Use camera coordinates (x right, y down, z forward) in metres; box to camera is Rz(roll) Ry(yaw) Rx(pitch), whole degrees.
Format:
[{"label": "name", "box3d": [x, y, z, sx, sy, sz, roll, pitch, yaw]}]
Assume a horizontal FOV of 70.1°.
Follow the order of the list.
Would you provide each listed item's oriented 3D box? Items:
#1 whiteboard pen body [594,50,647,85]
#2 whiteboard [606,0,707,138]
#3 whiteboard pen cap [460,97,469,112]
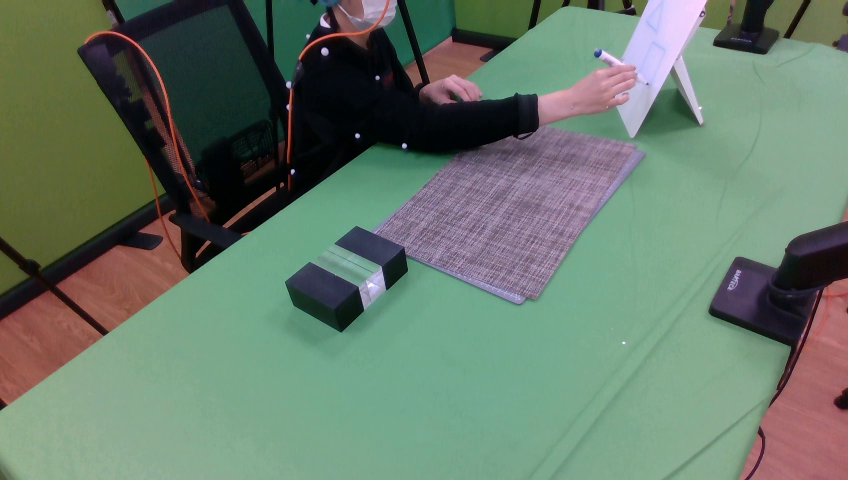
[{"label": "whiteboard pen body", "box3d": [0.359, -0.307, 1.091, 0.142, 0.017, 0.017, 18, 30, -30]}, {"label": "whiteboard", "box3d": [0.496, -0.358, 1.147, 0.144, 0.305, 0.216, 12, 40, -7]}, {"label": "whiteboard pen cap", "box3d": [0.086, -0.287, 1.284, 0.018, 0.018, 0.033, -4, 48, 4]}]
